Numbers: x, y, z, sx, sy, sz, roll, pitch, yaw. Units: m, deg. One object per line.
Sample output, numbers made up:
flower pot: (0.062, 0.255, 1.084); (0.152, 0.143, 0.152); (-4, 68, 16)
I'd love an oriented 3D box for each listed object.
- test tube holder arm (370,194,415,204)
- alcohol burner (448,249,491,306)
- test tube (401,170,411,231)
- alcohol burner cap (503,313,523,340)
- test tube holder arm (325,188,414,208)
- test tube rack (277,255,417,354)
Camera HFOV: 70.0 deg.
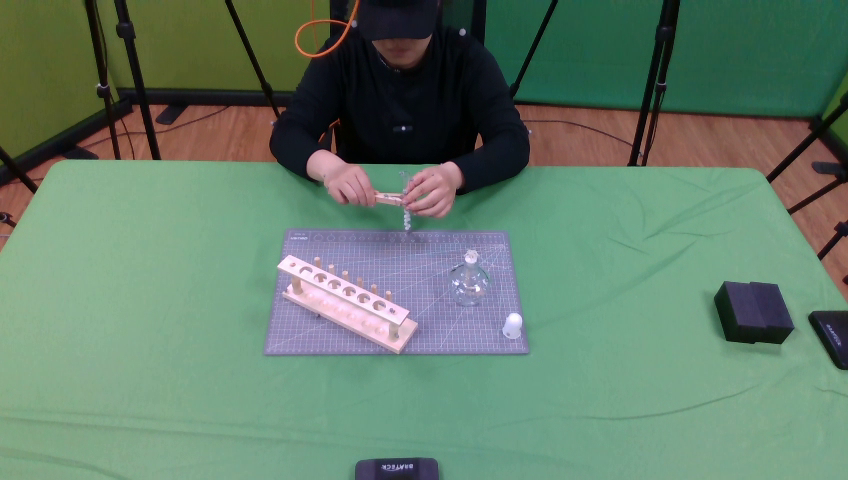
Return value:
test tube holder arm: (-0.061, -0.079, 1.166); (0.088, 0.015, 0.010); (3, 30, -1)
alcohol burner: (0.081, 0.062, 1.078); (0.078, 0.120, 0.077); (1, 45, -1)
test tube: (-0.034, -0.072, 1.162); (0.017, 0.151, 0.017); (0, 46, 0)
alcohol burner cap: (0.156, 0.148, 1.051); (0.034, 0.048, 0.033); (1, 45, -1)
test tube holder arm: (-0.106, -0.081, 1.165); (0.178, 0.015, 0.013); (8, 30, 9)
test tube rack: (-0.131, 0.099, 1.045); (0.241, 0.085, 0.066); (23, 49, 17)
